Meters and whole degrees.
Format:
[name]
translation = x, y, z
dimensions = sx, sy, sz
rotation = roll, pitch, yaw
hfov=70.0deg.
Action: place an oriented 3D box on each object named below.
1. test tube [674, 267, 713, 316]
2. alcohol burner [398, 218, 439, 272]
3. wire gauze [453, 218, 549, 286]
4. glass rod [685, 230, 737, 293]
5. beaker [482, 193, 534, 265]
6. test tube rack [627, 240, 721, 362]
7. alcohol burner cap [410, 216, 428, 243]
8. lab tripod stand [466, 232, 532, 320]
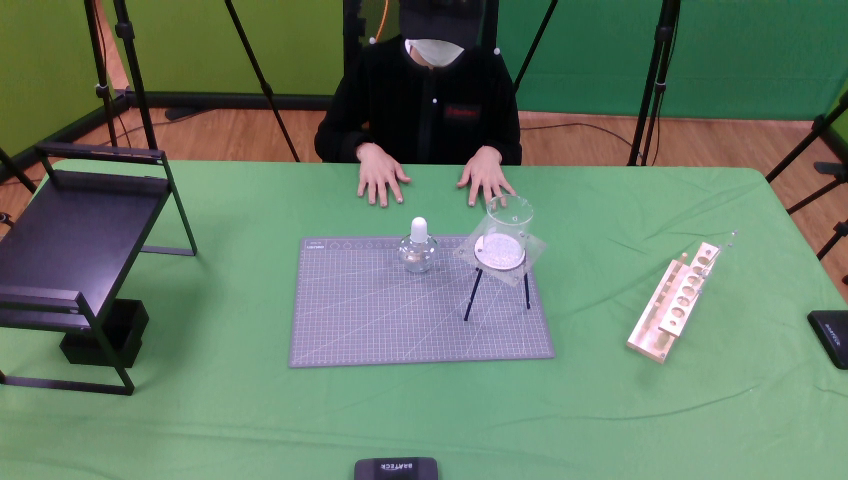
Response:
[test tube]
translation = 0.445, 0.098, 1.017
dimensions = 0.017, 0.151, 0.017
rotation = 4, 49, -4
[alcohol burner]
translation = -0.010, 0.004, 1.124
dimensions = 0.078, 0.120, 0.077
rotation = 1, 47, 0
[wire gauze]
translation = 0.129, 0.014, 1.019
dimensions = 0.124, 0.011, 0.121
rotation = 26, 47, 25
[glass rod]
translation = 0.495, 0.042, 1.051
dimensions = 0.008, 0.200, 0.008
rotation = 2, 55, -2
[beaker]
translation = 0.135, -0.016, 0.979
dimensions = 0.073, 0.101, 0.084
rotation = 35, 52, 28
[test tube rack]
translation = 0.452, 0.098, 1.087
dimensions = 0.066, 0.085, 0.242
rotation = 28, 51, 22
[alcohol burner cap]
translation = -0.009, -0.022, 1.099
dimensions = 0.034, 0.048, 0.033
rotation = 2, 41, -1
[lab tripod stand]
translation = 0.125, 0.059, 1.065
dimensions = 0.148, 0.132, 0.147
rotation = 1, 45, 0
